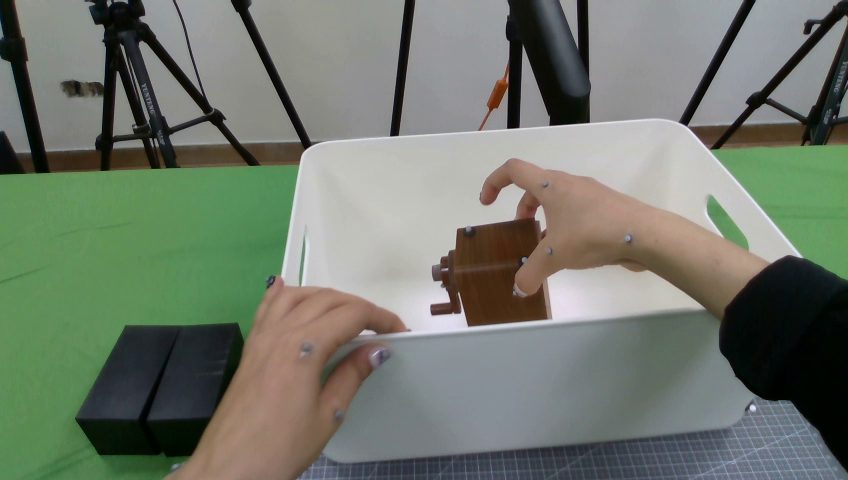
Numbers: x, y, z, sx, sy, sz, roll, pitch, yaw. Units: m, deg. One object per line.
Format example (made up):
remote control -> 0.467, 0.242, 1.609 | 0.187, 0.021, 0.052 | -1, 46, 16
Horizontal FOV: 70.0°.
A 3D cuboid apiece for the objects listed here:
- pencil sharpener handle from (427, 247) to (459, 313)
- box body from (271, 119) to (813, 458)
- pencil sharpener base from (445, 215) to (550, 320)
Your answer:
pencil sharpener handle -> 0.012, 0.037, 0.512 | 0.030, 0.068, 0.035 | -7, 40, 11
box body -> 0.077, 0.032, 0.527 | 0.364, 0.162, 0.251 | -4, 39, -3
pencil sharpener base -> 0.064, 0.041, 0.509 | 0.076, 0.108, 0.061 | -7, 37, 11
